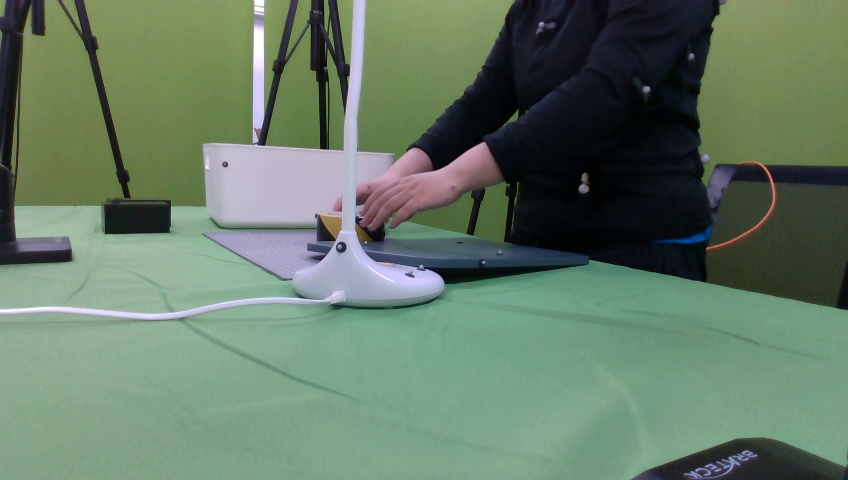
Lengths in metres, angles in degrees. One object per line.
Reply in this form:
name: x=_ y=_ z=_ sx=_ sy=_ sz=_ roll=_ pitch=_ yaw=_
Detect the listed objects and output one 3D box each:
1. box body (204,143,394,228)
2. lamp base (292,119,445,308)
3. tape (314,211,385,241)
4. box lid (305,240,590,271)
box body: x=-0.271 y=-0.117 z=1.291 sx=0.366 sy=0.160 sz=0.253 roll=-1 pitch=8 yaw=-25
lamp base: x=-0.056 y=-0.030 z=0.616 sx=0.160 sy=0.180 sz=0.179 roll=3 pitch=10 yaw=8
tape: x=-0.120 y=-0.017 z=0.973 sx=0.117 sy=0.052 sz=0.117 roll=2 pitch=7 yaw=0
box lid: x=0.042 y=0.019 z=0.879 sx=0.262 sy=0.015 sz=0.374 roll=7 pitch=5 yaw=44
